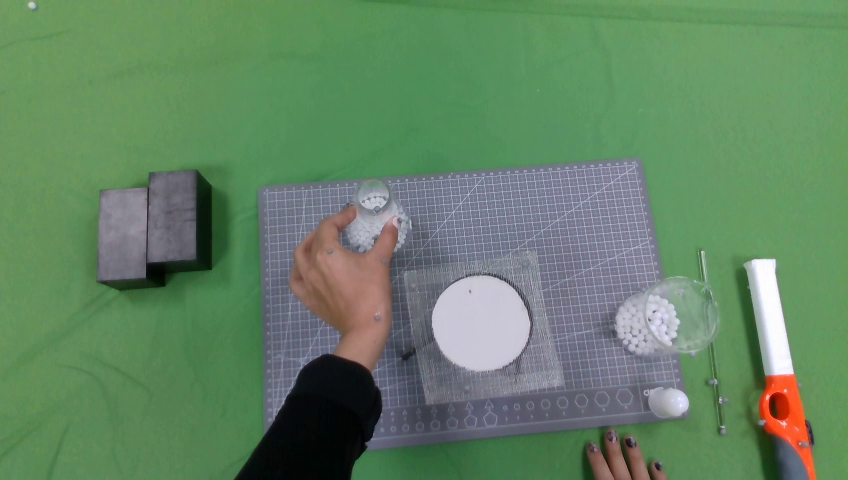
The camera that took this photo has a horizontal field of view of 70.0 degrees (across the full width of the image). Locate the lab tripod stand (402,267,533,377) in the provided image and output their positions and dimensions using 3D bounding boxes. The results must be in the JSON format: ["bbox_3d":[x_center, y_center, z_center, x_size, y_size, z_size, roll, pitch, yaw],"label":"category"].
[{"bbox_3d":[0.047,0.087,0.600,0.148,0.132,0.147,0,78,-1],"label":"lab tripod stand"}]

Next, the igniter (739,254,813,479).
[{"bbox_3d":[0.381,0.151,0.655,0.057,0.025,0.275,0,77,-12],"label":"igniter"}]

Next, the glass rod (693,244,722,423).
[{"bbox_3d":[0.316,0.100,0.675,0.008,0.008,0.198,-1,76,-3],"label":"glass rod"}]

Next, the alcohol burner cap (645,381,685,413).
[{"bbox_3d":[0.256,0.164,0.636,0.034,0.048,0.033,1,76,-2],"label":"alcohol burner cap"}]

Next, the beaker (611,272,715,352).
[{"bbox_3d":[0.243,0.077,0.627,0.084,0.100,0.074,-41,81,-11],"label":"beaker"}]

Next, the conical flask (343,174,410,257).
[{"bbox_3d":[-0.052,-0.031,0.630,0.075,0.122,0.075,0,75,-1],"label":"conical flask"}]

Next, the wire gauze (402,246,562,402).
[{"bbox_3d":[0.050,0.073,0.534,0.125,0.011,0.121,-9,77,-4],"label":"wire gauze"}]

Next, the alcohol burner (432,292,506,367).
[{"bbox_3d":[0.046,0.088,0.610,0.078,0.119,0.077,0,74,0],"label":"alcohol burner"}]
